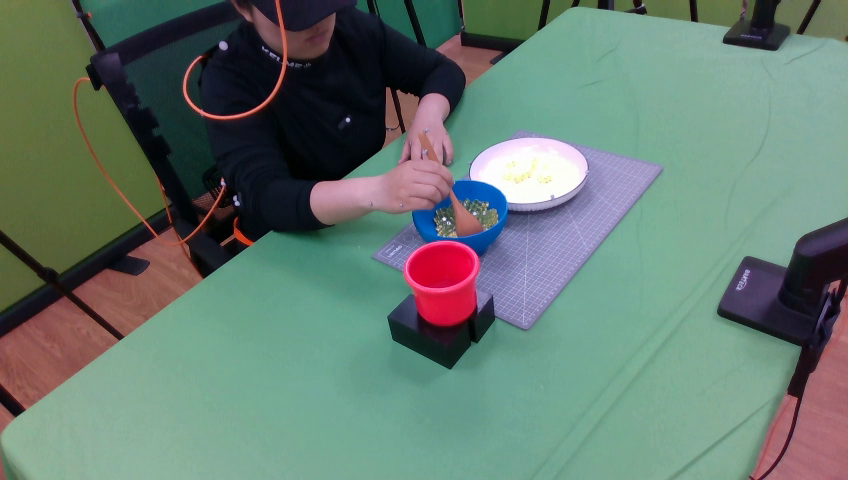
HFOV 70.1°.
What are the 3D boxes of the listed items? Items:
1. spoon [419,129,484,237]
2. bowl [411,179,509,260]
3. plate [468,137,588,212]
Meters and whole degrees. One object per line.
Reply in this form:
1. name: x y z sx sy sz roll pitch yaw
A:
1. spoon: 0.036 -0.073 0.884 0.041 0.194 0.021 -26 15 6
2. bowl: 0.060 -0.022 0.949 0.151 0.077 0.150 -5 40 5
3. plate: 0.182 -0.112 1.064 0.207 0.039 0.206 -5 40 5
